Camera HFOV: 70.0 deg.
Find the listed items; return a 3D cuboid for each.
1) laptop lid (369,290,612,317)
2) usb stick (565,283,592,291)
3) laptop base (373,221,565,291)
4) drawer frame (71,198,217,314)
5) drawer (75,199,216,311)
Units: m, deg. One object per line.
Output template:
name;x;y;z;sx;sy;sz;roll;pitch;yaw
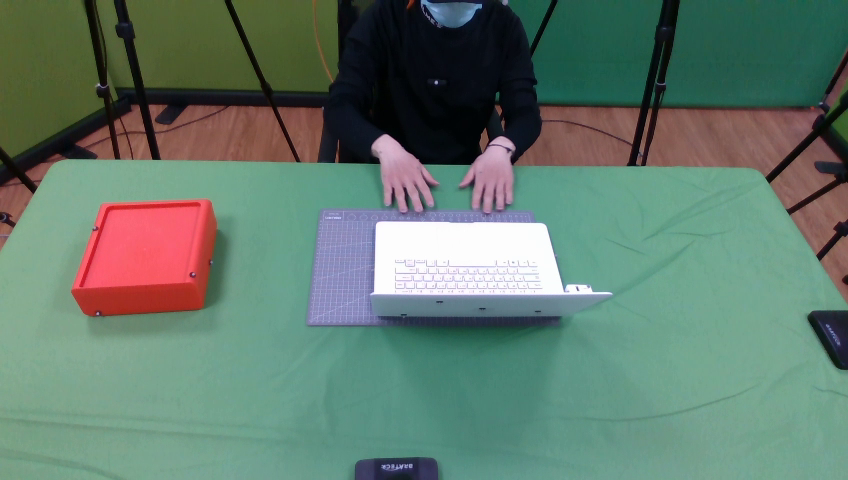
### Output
laptop lid;0.091;0.104;0.965;0.357;0.242;0.013;1;75;-5
usb stick;0.276;0.095;1.113;0.059;0.027;0.021;-1;47;-6
laptop base;0.080;0.049;1.158;0.355;0.023;0.234;0;43;-4
drawer frame;-0.493;0.023;1.096;0.202;0.083;0.212;-3;47;-8
drawer;-0.494;0.023;1.098;0.195;0.073;0.210;-2;47;-8
